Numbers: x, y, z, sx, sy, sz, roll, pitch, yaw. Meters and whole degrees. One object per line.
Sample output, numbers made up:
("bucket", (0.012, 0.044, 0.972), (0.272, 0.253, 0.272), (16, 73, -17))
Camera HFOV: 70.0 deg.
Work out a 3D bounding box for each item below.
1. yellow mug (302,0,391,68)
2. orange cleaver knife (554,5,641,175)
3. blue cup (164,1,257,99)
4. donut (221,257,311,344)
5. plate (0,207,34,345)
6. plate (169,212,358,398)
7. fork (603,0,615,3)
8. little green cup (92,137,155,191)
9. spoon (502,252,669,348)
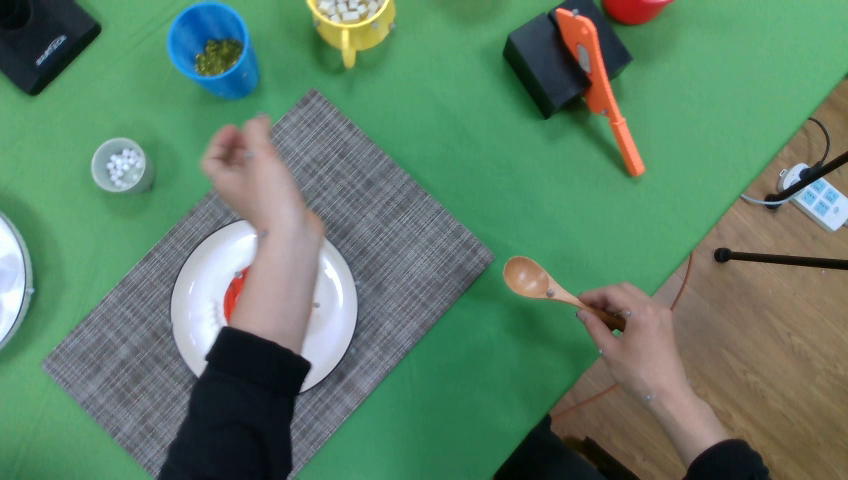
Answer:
("yellow mug", (-0.090, -0.268, 0.709), (0.100, 0.064, 0.130), (1, 86, -1))
("orange cleaver knife", (0.199, -0.169, 0.696), (0.012, 0.076, 0.213), (-32, 115, -1))
("blue cup", (-0.231, -0.204, 0.684), (0.093, 0.100, 0.092), (0, 85, -2))
("donut", (-0.176, 0.067, 0.678), (0.099, 0.048, 0.099), (0, 88, 0))
("plate", (-0.544, 0.045, 0.689), (0.208, 0.039, 0.207), (0, 85, -1))
("plate", (-0.178, 0.073, 0.689), (0.209, 0.038, 0.208), (0, 86, -1))
("fork", (0.294, -0.328, 0.679), (0.207, 0.019, 0.028), (-22, 82, 39))
("little green cup", (-0.346, -0.085, 0.704), (0.061, 0.038, 0.061), (0, 85, -1))
("spoon", (0.171, 0.068, 0.642), (0.193, 0.022, 0.041), (27, 75, 7))
